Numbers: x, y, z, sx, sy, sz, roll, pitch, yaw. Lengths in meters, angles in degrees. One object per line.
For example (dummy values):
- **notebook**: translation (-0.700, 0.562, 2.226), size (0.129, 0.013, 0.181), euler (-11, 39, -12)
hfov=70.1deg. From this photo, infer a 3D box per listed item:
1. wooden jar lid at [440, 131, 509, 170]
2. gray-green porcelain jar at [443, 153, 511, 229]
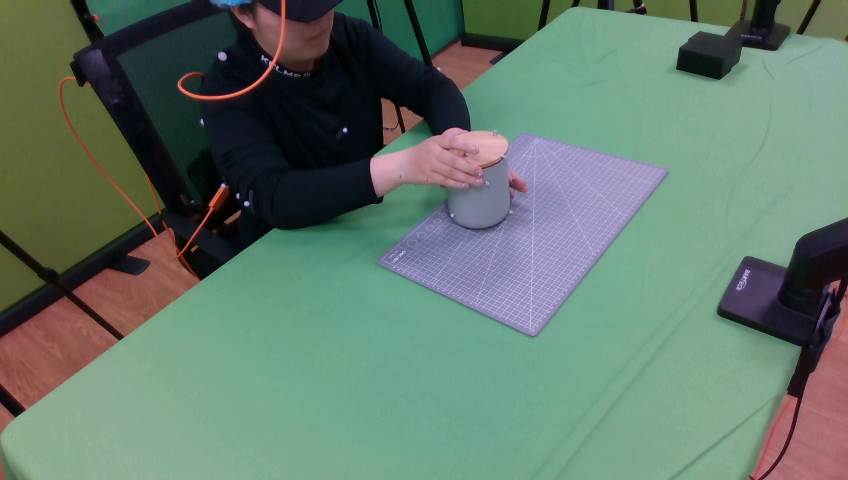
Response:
- **wooden jar lid**: translation (0.079, -0.137, 0.948), size (0.108, 0.021, 0.108), euler (-5, 38, 5)
- **gray-green porcelain jar**: translation (0.088, -0.090, 0.988), size (0.106, 0.127, 0.105), euler (-5, 40, 5)
